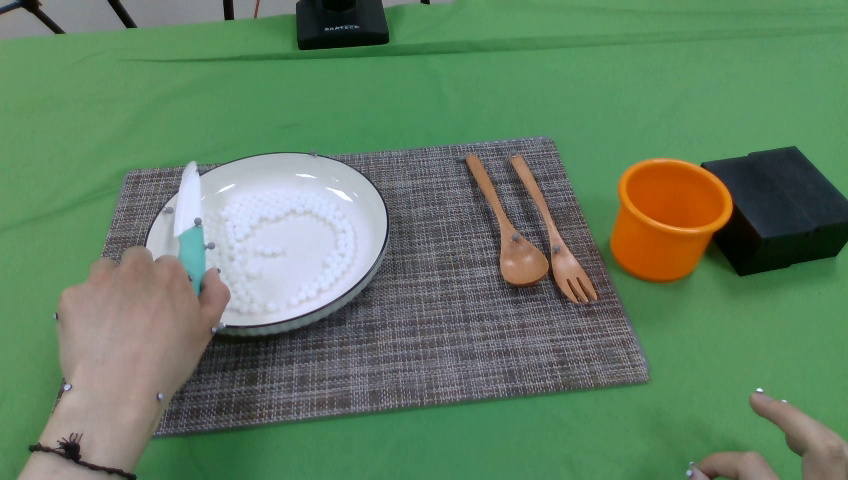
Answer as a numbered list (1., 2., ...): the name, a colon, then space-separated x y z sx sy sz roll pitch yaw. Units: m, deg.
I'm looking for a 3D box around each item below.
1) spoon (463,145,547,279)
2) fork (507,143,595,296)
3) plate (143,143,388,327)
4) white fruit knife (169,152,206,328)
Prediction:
1. spoon: 0.068 -0.034 0.572 0.041 0.022 0.191 -22 50 5
2. fork: 0.112 -0.027 0.568 0.028 0.019 0.205 -13 51 -3
3. plate: -0.135 -0.007 0.538 0.209 0.038 0.207 0 48 0
4. white fruit knife: -0.199 -0.012 0.514 0.027 0.016 0.205 -13 49 -7
